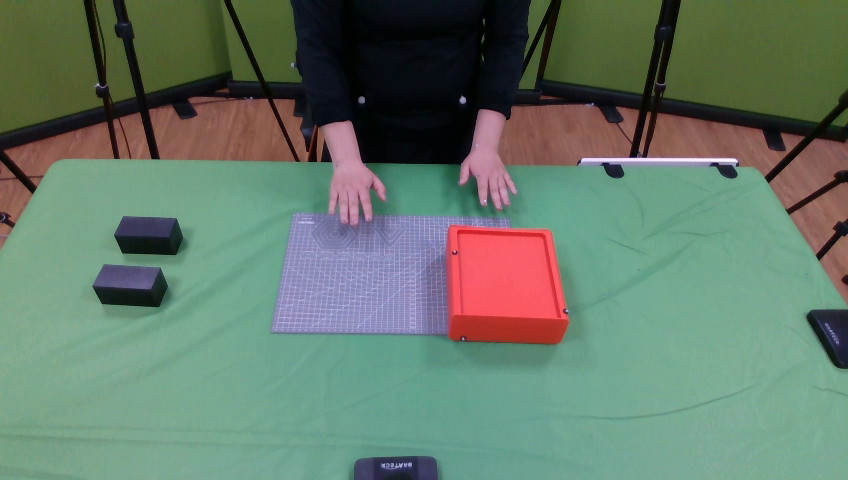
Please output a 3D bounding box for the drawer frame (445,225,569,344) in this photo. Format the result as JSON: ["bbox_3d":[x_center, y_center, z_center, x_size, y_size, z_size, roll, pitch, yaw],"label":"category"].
[{"bbox_3d":[0.141,0.076,1.089,0.202,0.083,0.212,3,47,-4],"label":"drawer frame"}]

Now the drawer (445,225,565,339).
[{"bbox_3d":[0.139,0.073,1.094,0.194,0.073,0.210,3,47,-3],"label":"drawer"}]

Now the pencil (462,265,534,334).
[{"bbox_3d":[0.130,0.104,1.098,0.012,0.012,0.193,-26,51,-26],"label":"pencil"}]
